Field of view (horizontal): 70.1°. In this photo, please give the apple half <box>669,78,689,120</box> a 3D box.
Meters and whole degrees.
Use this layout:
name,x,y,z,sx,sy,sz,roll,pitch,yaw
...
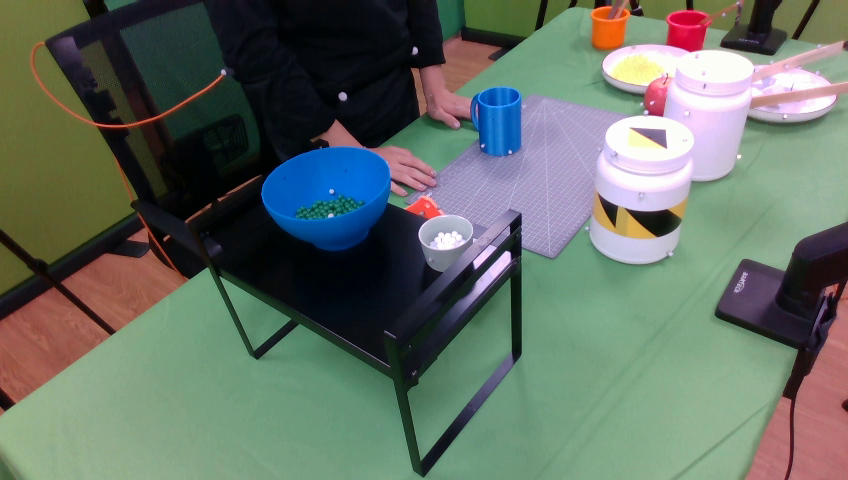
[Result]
name,x,y,z,sx,sy,sz,roll,pitch,yaw
apple half,0.498,-0.273,1.180,0.032,0.082,0.081,7,42,25

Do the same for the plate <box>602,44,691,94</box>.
name,x,y,z,sx,sy,sz,roll,pitch,yaw
plate,0.495,-0.367,1.317,0.209,0.038,0.208,-4,40,4

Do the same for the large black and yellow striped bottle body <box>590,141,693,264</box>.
name,x,y,z,sx,sy,sz,roll,pitch,yaw
large black and yellow striped bottle body,0.317,-0.071,0.889,0.131,0.185,0.130,-4,41,4

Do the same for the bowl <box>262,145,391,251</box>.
name,x,y,z,sx,sy,sz,roll,pitch,yaw
bowl,-0.109,-0.040,0.723,0.151,0.077,0.150,-4,40,4

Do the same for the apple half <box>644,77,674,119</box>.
name,x,y,z,sx,sy,sz,roll,pitch,yaw
apple half,0.463,-0.279,1.194,0.053,0.075,0.081,8,46,24

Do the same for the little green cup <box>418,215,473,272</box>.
name,x,y,z,sx,sy,sz,roll,pitch,yaw
little green cup,0.026,0.005,0.678,0.061,0.039,0.061,-4,40,4

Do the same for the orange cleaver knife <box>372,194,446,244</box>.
name,x,y,z,sx,sy,sz,roll,pitch,yaw
orange cleaver knife,-0.032,-0.026,0.965,0.210,0.077,0.012,-9,29,51

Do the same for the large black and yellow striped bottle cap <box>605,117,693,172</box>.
name,x,y,z,sx,sy,sz,roll,pitch,yaw
large black and yellow striped bottle cap,0.309,-0.134,0.833,0.115,0.019,0.114,-5,40,5

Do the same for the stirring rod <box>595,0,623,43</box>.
name,x,y,z,sx,sy,sz,roll,pitch,yaw
stirring rod,0.460,-0.556,1.459,0.014,0.006,0.176,30,93,23

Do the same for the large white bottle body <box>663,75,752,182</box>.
name,x,y,z,sx,sy,sz,roll,pitch,yaw
large white bottle body,0.472,-0.207,1.022,0.130,0.185,0.130,-4,41,4

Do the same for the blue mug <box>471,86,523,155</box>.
name,x,y,z,sx,sy,sz,roll,pitch,yaw
blue mug,0.135,-0.235,1.163,0.082,0.106,0.115,-36,48,-28

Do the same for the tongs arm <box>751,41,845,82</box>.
name,x,y,z,sx,sy,sz,roll,pitch,yaw
tongs arm,0.708,-0.331,1.193,0.386,0.026,0.050,-19,45,-16

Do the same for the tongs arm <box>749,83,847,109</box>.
name,x,y,z,sx,sy,sz,roll,pitch,yaw
tongs arm,0.735,-0.280,1.133,0.388,0.028,0.028,-9,47,-5

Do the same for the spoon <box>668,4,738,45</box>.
name,x,y,z,sx,sy,sz,roll,pitch,yaw
spoon,0.618,-0.478,1.346,0.042,0.193,0.021,-25,89,-20

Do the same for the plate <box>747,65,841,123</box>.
name,x,y,z,sx,sy,sz,roll,pitch,yaw
plate,0.694,-0.282,1.189,0.207,0.039,0.206,-4,40,4

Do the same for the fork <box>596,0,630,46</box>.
name,x,y,z,sx,sy,sz,roll,pitch,yaw
fork,0.481,-0.556,1.452,0.028,0.019,0.207,40,103,40

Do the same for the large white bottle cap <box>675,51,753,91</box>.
name,x,y,z,sx,sy,sz,roll,pitch,yaw
large white bottle cap,0.463,-0.271,0.967,0.115,0.018,0.114,-4,40,3
